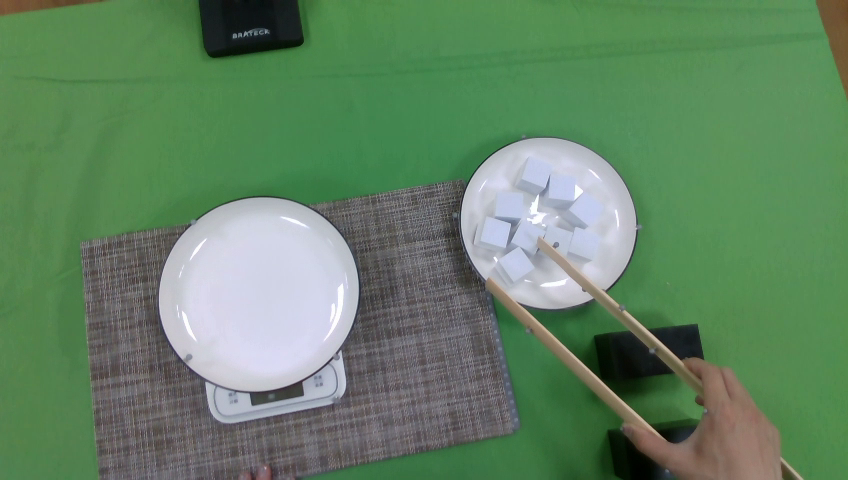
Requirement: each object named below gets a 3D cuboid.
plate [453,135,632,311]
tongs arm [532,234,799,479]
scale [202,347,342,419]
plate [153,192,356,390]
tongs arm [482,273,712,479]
[{"bbox_3d":[0.136,-0.019,0.712,0.208,0.039,0.206,1,79,-3],"label":"plate"},{"bbox_3d":[0.234,0.135,0.601,0.051,0.027,0.382,-38,69,-21],"label":"tongs arm"},{"bbox_3d":[-0.177,0.088,0.672,0.149,0.031,0.200,-9,80,-5],"label":"scale"},{"bbox_3d":[-0.176,0.053,0.646,0.209,0.038,0.208,1,79,-3],"label":"plate"},{"bbox_3d":[0.201,0.161,0.587,0.028,0.028,0.385,-39,69,-25],"label":"tongs arm"}]
